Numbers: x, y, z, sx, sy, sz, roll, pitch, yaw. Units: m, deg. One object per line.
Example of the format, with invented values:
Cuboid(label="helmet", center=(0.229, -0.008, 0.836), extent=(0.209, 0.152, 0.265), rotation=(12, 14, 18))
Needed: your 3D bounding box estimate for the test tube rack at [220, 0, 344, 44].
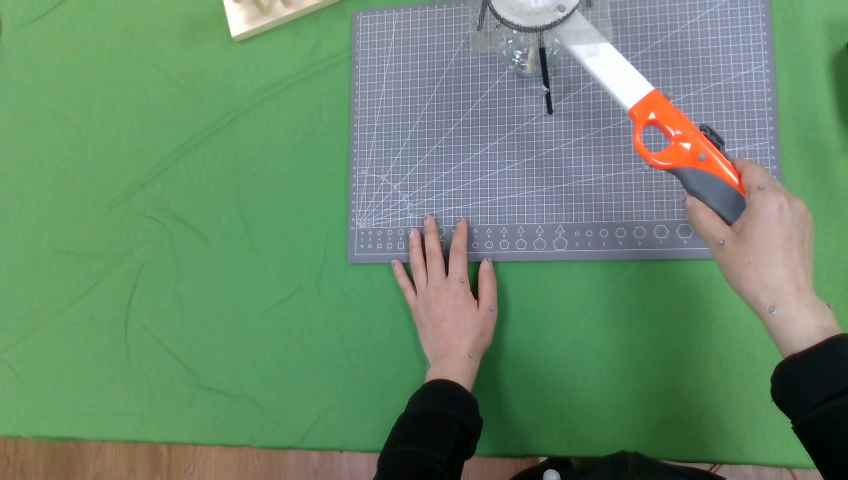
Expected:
Cuboid(label="test tube rack", center=(-0.137, -0.315, 0.694), extent=(0.242, 0.085, 0.066), rotation=(-18, 79, 9))

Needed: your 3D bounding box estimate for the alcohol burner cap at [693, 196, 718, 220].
Cuboid(label="alcohol burner cap", center=(0.285, -0.040, 0.590), extent=(0.034, 0.048, 0.033), rotation=(-2, 81, 11))

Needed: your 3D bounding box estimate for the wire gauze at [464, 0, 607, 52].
Cuboid(label="wire gauze", center=(0.097, -0.228, 0.538), extent=(0.125, 0.011, 0.121), rotation=(-2, 86, 9))

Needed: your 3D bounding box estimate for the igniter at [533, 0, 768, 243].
Cuboid(label="igniter", center=(0.193, -0.112, 0.524), extent=(0.057, 0.025, 0.275), rotation=(-40, 75, 9))

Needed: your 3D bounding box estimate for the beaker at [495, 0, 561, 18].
Cuboid(label="beaker", center=(0.082, -0.234, 0.492), extent=(0.083, 0.101, 0.074), rotation=(12, 86, 14))

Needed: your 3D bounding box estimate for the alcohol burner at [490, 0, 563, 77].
Cuboid(label="alcohol burner", center=(0.105, -0.214, 0.613), extent=(0.078, 0.119, 0.077), rotation=(-1, 82, 10))

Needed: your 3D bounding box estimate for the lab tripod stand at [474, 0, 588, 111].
Cuboid(label="lab tripod stand", center=(0.111, -0.218, 0.602), extent=(0.148, 0.132, 0.148), rotation=(-1, 84, 10))
